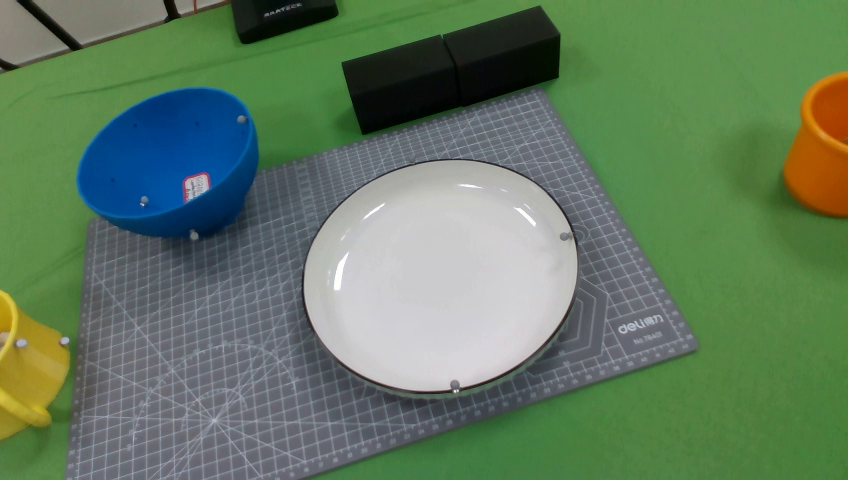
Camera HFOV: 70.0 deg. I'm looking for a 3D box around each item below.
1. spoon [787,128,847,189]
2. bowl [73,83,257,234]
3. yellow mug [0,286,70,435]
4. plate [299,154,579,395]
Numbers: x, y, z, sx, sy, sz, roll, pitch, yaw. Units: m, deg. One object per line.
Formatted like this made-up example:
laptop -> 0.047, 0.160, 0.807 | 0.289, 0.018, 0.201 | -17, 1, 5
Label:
spoon -> 0.350, -0.097, 0.420 | 0.022, 0.194, 0.041 | 15, 49, -35
bowl -> -0.209, -0.057, 0.530 | 0.151, 0.077, 0.150 | -5, 54, 7
yellow mug -> -0.323, 0.097, 0.450 | 0.130, 0.064, 0.099 | 26, 63, 25
plate -> 0.011, 0.022, 0.459 | 0.209, 0.038, 0.207 | -4, 54, 6
